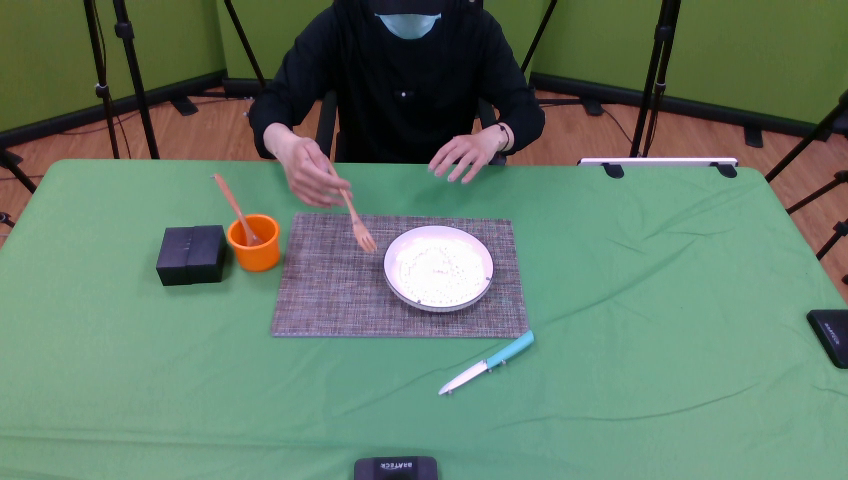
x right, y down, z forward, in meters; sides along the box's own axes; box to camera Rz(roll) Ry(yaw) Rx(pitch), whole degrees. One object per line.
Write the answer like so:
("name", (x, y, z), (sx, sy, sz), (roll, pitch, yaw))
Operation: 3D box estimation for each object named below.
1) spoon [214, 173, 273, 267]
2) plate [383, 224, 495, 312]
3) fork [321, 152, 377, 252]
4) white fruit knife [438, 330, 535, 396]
("spoon", (-0.336, -0.037, 1.121), (0.041, 0.194, 0.021), (-29, 10, -25))
("plate", (0.026, 0.055, 1.128), (0.209, 0.038, 0.208), (2, 46, -2))
("fork", (-0.137, -0.069, 1.077), (0.028, 0.018, 0.207), (-24, 80, -20))
("white fruit knife", (0.108, 0.206, 1.009), (0.207, 0.016, 0.027), (-27, 30, -22))
